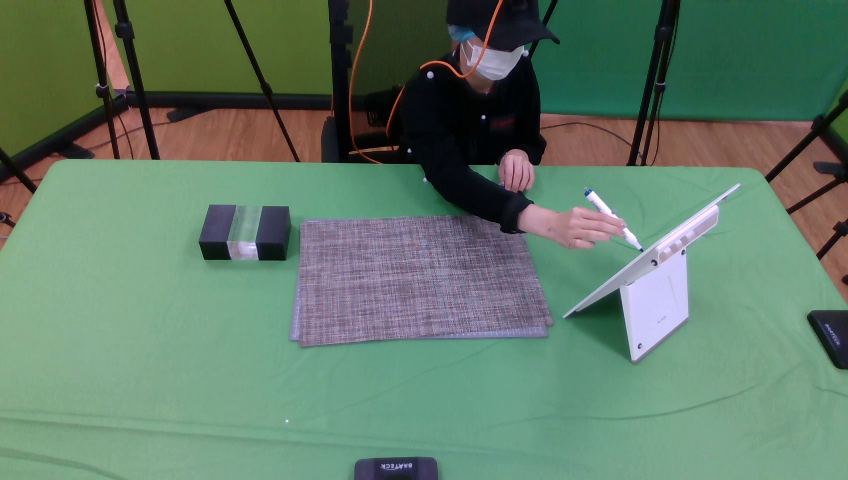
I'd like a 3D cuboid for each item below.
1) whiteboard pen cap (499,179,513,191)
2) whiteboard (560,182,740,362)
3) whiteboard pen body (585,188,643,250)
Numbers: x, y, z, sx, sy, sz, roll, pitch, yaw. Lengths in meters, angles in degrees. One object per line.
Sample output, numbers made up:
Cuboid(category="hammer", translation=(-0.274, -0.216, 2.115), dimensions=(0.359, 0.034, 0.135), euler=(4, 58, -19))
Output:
Cuboid(category="whiteboard pen cap", translation=(0.177, -0.120, 1.317), dimensions=(0.033, 0.018, 0.018), euler=(-32, 56, -22))
Cuboid(category="whiteboard", translation=(0.406, 0.075, 1.001), dimensions=(0.217, 0.306, 0.143), euler=(-28, 73, -28))
Cuboid(category="whiteboard pen body", translation=(0.322, -0.033, 1.023), dimensions=(0.141, 0.017, 0.017), euler=(47, 55, 0))
